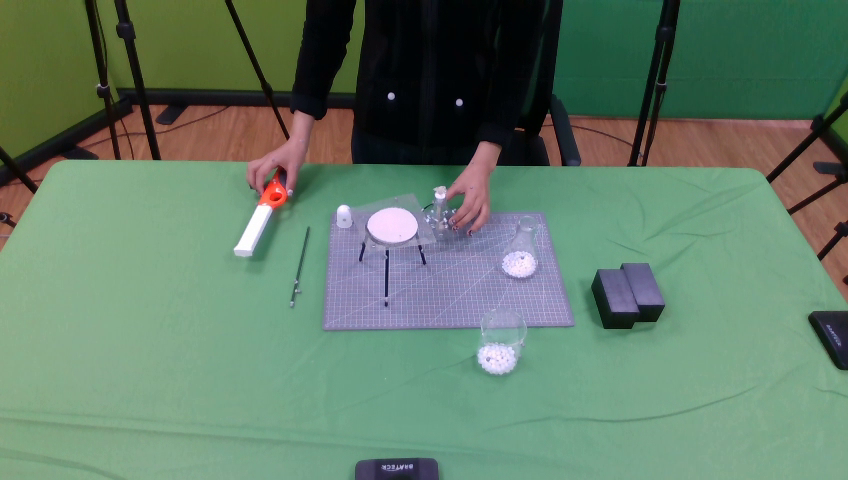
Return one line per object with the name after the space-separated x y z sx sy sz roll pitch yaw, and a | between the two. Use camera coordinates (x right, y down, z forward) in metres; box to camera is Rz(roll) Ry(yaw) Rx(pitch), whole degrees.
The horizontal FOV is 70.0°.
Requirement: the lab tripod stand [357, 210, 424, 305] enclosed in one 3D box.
-0.060 0.020 1.094 0.148 0.132 0.147 3 44 -2 | lab tripod stand

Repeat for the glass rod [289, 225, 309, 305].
-0.236 0.043 1.149 0.008 0.008 0.198 3 46 -1 | glass rod

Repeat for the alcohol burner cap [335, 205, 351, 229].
-0.164 -0.049 1.216 0.034 0.048 0.033 1 45 -1 | alcohol burner cap

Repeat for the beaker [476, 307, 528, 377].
0.122 0.171 0.991 0.084 0.101 0.073 -34 56 -31 | beaker

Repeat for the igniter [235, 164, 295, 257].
-0.316 -0.068 1.217 0.057 0.025 0.275 5 43 6 | igniter

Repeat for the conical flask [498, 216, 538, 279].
0.183 0.010 1.131 0.075 0.122 0.075 2 46 -2 | conical flask

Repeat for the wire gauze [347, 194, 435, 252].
-0.058 -0.029 1.048 0.125 0.011 0.120 -12 48 -16 | wire gauze

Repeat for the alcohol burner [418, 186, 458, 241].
0.028 -0.056 1.189 0.078 0.120 0.077 1 46 -1 | alcohol burner
